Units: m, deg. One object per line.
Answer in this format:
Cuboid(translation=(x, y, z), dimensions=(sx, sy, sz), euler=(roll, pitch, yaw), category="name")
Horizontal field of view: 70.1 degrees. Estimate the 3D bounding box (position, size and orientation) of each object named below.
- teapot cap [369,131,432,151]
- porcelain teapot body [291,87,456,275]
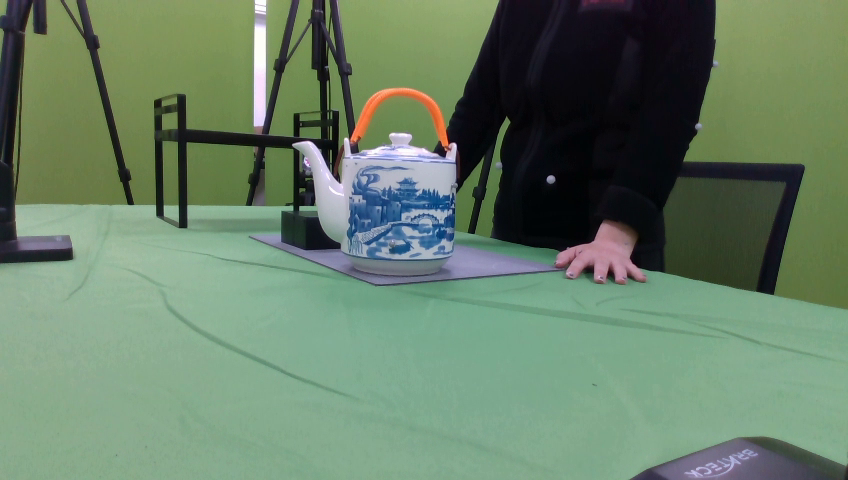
Cuboid(translation=(-0.031, -0.114, 0.754), dimensions=(0.085, 0.044, 0.085), euler=(1, 11, 0), category="teapot cap")
Cuboid(translation=(-0.061, -0.076, 0.754), dimensions=(0.206, 0.225, 0.145), euler=(0, 8, -12), category="porcelain teapot body")
